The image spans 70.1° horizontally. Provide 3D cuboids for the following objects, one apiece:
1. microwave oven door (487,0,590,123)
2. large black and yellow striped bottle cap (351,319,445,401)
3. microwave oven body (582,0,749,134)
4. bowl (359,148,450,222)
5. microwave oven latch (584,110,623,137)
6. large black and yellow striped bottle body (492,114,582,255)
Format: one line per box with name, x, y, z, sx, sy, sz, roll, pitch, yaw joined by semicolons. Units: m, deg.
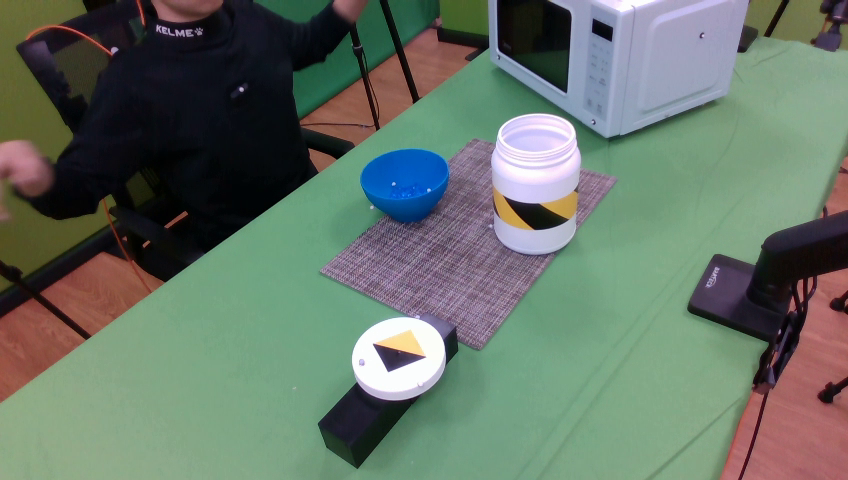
microwave oven door;0.232;-0.420;1.230;0.039;0.245;0.352;-22;43;-16
large black and yellow striped bottle cap;-0.031;0.143;0.735;0.115;0.019;0.114;-3;40;3
microwave oven body;0.382;-0.444;1.246;0.327;0.261;0.437;-22;42;-16
bowl;-0.029;-0.083;1.022;0.151;0.077;0.150;-4;40;4
microwave oven latch;0.337;-0.222;1.142;0.030;0.029;0.078;-21;42;-14
large black and yellow striped bottle body;0.169;-0.083;0.912;0.131;0.185;0.130;-4;41;4
